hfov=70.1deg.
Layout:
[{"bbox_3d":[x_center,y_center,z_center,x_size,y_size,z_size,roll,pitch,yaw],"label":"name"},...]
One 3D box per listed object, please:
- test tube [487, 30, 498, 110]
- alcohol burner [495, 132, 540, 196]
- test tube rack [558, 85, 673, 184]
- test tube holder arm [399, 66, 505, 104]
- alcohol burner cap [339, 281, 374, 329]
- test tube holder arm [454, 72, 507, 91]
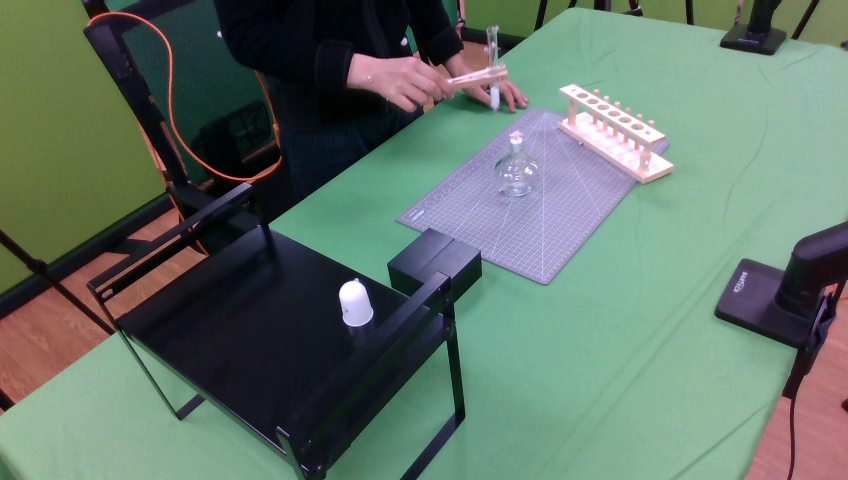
[{"bbox_3d":[0.111,-0.271,0.977,0.017,0.151,0.017,-4,53,5],"label":"test tube"},{"bbox_3d":[0.159,-0.135,1.035,0.078,0.119,0.077,-5,42,5],"label":"alcohol burner"},{"bbox_3d":[0.347,-0.203,1.109,0.067,0.085,0.240,-22,42,-17],"label":"test tube rack"},{"bbox_3d":[0.046,-0.251,0.983,0.179,0.015,0.013,-16,55,-4],"label":"test tube holder arm"},{"bbox_3d":[-0.071,0.063,0.617,0.034,0.048,0.033,-4,39,4],"label":"alcohol burner cap"},{"bbox_3d":[0.091,-0.257,0.981,0.088,0.015,0.010,-9,55,1],"label":"test tube holder arm"}]
